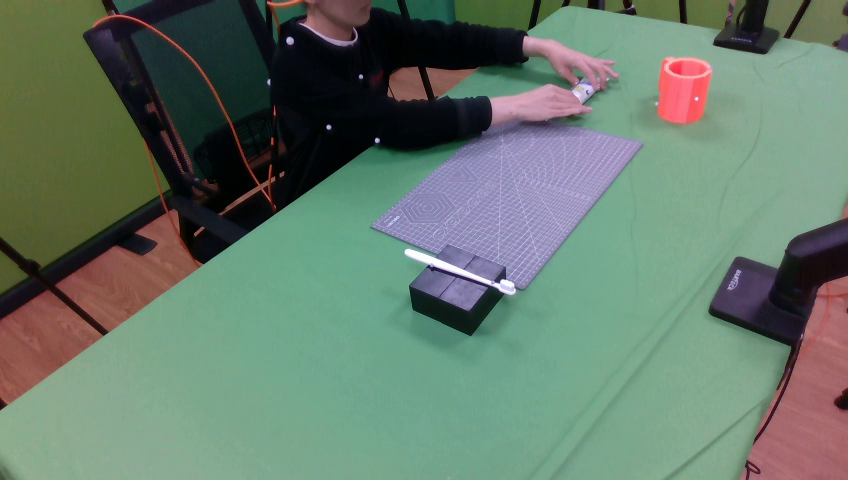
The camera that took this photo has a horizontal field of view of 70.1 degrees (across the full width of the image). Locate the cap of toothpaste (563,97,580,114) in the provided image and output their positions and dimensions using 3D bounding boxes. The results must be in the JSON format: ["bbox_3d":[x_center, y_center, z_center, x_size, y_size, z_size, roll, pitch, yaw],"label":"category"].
[{"bbox_3d":[0.303,-0.277,1.239,0.037,0.037,0.011,19,44,27],"label":"cap of toothpaste"}]

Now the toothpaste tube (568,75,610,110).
[{"bbox_3d":[0.346,-0.319,1.289,0.054,0.034,0.165,20,45,24],"label":"toothpaste tube"}]

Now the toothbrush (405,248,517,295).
[{"bbox_3d":[0.048,0.041,0.850,0.180,0.017,0.014,19,52,28],"label":"toothbrush"}]

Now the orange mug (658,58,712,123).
[{"bbox_3d":[0.504,-0.304,1.193,0.083,0.101,0.125,-13,45,-5],"label":"orange mug"}]
